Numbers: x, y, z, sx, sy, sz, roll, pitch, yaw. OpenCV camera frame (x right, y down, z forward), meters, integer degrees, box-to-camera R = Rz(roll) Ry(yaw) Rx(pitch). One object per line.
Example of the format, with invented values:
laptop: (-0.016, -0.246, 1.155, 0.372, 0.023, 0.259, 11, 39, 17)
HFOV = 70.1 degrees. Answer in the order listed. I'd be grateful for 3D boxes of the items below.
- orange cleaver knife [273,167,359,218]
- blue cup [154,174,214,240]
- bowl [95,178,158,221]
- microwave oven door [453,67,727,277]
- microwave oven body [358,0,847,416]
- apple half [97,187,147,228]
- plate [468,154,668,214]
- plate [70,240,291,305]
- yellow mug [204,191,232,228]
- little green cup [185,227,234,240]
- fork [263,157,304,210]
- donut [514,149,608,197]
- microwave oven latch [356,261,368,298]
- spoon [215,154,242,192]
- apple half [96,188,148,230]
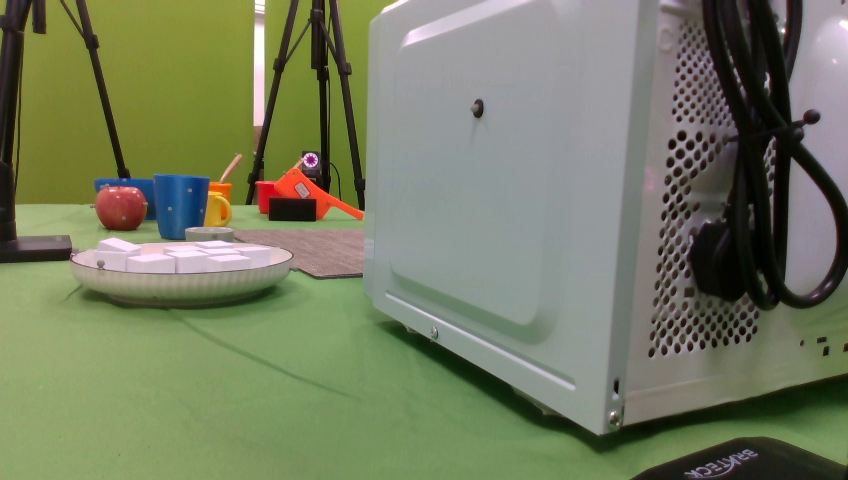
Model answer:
orange cleaver knife: (-0.238, -0.090, 1.381, 0.212, 0.077, 0.012, 31, 0, -19)
blue cup: (-0.391, -0.053, 0.978, 0.093, 0.100, 0.092, 3, 6, 0)
bowl: (-0.576, -0.081, 1.217, 0.151, 0.077, 0.151, 3, 8, 0)
microwave oven door: (0.197, -0.095, 0.802, 0.354, 0.243, 0.039, 8, 10, 36)
microwave oven body: (0.210, -0.047, 0.475, 0.444, 0.260, 0.324, -1, 7, -28)
apple half: (-0.534, -0.059, 1.071, 0.082, 0.081, 0.032, -1, 11, -25)
plate: (0.152, -0.061, 0.652, 0.209, 0.038, 0.209, -4, 14, 1)
plate: (-0.242, 0.032, 0.619, 0.208, 0.039, 0.207, 3, 8, 0)
yellow mug: (-0.415, -0.057, 1.131, 0.130, 0.064, 0.100, 6, 7, 16)
little green cup: (-0.285, 0.005, 0.805, 0.061, 0.038, 0.061, 2, 8, 0)
fork: (-0.345, -0.143, 1.506, 0.028, 0.019, 0.207, -4, 46, 29)
donut: (0.146, -0.072, 0.649, 0.099, 0.048, 0.099, -3, 15, 1)
microwave oven latch: (-0.020, 0.033, 0.529, 0.079, 0.029, 0.030, 0, 7, -25)
spoon: (-0.439, -0.124, 1.318, 0.041, 0.193, 0.022, 6, -36, 16)
apple half: (-0.517, -0.052, 1.036, 0.081, 0.074, 0.053, 2, 10, -26)
